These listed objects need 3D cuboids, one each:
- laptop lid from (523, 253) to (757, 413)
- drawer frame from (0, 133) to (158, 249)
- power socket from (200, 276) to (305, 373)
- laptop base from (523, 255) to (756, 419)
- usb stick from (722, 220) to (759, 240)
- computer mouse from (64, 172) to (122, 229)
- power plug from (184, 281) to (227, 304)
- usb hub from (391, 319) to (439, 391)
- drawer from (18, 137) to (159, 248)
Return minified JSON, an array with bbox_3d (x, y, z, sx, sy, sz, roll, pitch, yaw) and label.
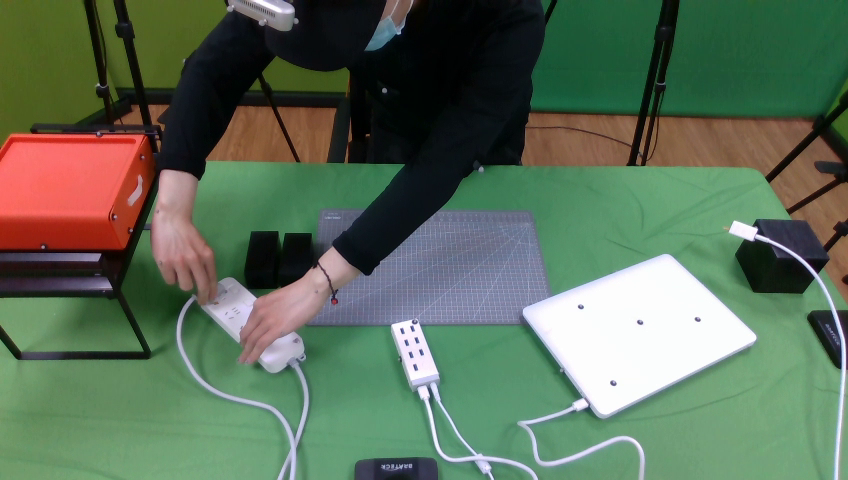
[{"bbox_3d":[0.380,0.147,1.073,0.357,0.013,0.240,-17,48,-19],"label":"laptop lid"},{"bbox_3d":[-0.553,-0.078,0.942,0.214,0.083,0.200,-1,47,-4],"label":"drawer frame"},{"bbox_3d":[-0.296,0.141,1.034,0.225,0.033,0.072,36,54,25],"label":"power socket"},{"bbox_3d":[0.381,0.157,1.080,0.355,0.023,0.234,-18,48,-21],"label":"laptop base"},{"bbox_3d":[0.593,-0.021,1.139,0.059,0.027,0.021,22,12,28],"label":"usb stick"},{"bbox_3d":[-0.521,-0.067,0.955,0.063,0.041,0.116,1,48,-9],"label":"computer mouse"},{"bbox_3d":[-0.371,0.096,1.030,0.072,0.053,0.035,-29,48,-24],"label":"power plug"},{"bbox_3d":[-0.016,0.190,1.013,0.049,0.025,0.124,-10,48,-15],"label":"usb hub"},{"bbox_3d":[-0.549,-0.079,0.944,0.212,0.073,0.193,0,47,-3],"label":"drawer"}]
